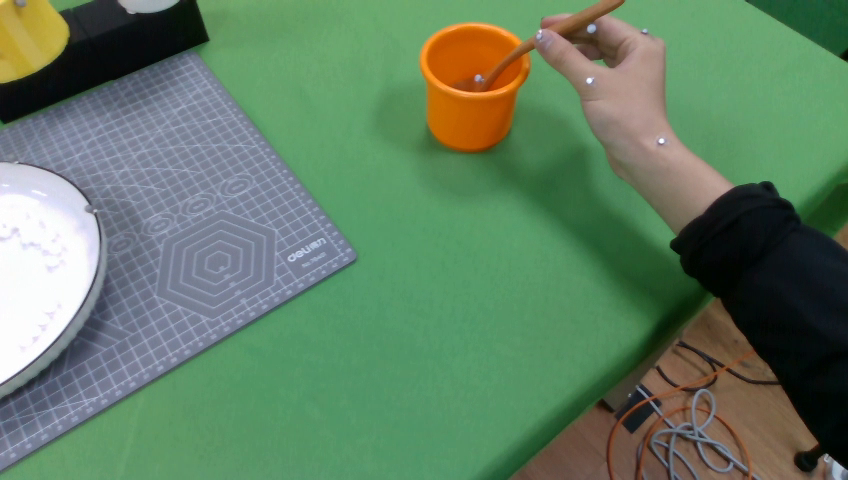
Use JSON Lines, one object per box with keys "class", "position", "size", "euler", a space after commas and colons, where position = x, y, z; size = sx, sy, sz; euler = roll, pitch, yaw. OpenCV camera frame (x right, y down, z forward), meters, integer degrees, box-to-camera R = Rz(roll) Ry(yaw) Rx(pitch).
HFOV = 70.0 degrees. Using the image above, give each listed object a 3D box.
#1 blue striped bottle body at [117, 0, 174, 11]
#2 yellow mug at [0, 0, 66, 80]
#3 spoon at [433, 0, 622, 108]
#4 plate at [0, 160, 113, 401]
{"class": "blue striped bottle body", "position": [-0.257, -0.266, 0.518], "size": [0.063, 0.122, 0.062], "euler": [0, 57, 0]}
{"class": "yellow mug", "position": [-0.379, -0.193, 0.502], "size": [0.130, 0.064, 0.099], "euler": [12, 58, 8]}
{"class": "spoon", "position": [0.075, -0.151, 0.490], "size": [0.022, 0.193, 0.041], "euler": [36, 57, -25]}
{"class": "plate", "position": [-0.326, 0.033, 0.432], "size": [0.208, 0.039, 0.205], "euler": [1, 57, -1]}
